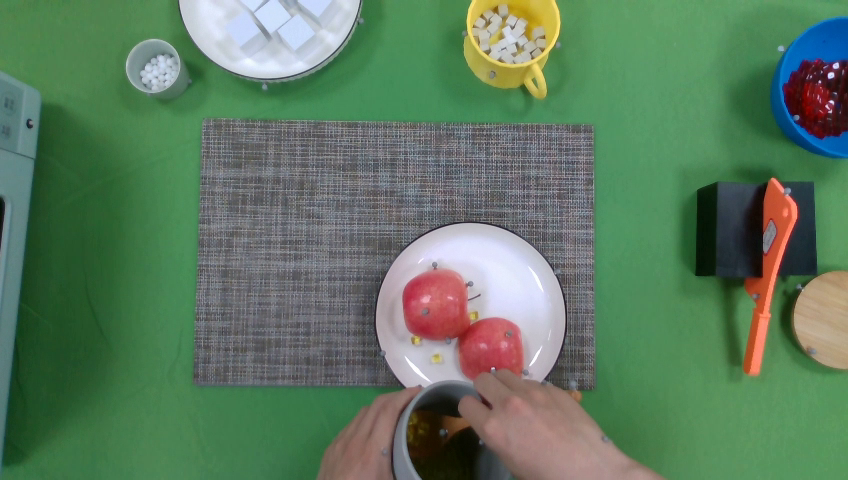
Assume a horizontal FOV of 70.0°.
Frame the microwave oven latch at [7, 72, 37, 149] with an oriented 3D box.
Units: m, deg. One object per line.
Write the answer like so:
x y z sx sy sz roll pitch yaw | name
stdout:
-0.449 -0.143 0.666 0.030 0.029 0.079 8 87 0 | microwave oven latch

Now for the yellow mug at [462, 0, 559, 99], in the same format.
0.101 -0.217 0.674 0.100 0.064 0.130 -28 87 -2 | yellow mug

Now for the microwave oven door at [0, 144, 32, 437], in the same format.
-0.469 0.069 0.551 0.039 0.244 0.355 4 86 1 | microwave oven door

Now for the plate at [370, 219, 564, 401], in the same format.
0.046 0.081 0.665 0.209 0.038 0.208 0 87 0 | plate

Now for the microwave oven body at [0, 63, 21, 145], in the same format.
-0.611 0.015 0.560 0.326 0.260 0.441 4 87 0 | microwave oven body

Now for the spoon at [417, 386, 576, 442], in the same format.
0.058 0.154 0.545 0.022 0.193 0.041 23 57 -29 | spoon

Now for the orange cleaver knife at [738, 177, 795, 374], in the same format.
0.356 0.040 0.648 0.012 0.077 0.212 2 110 4 | orange cleaver knife

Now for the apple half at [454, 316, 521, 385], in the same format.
0.070 0.121 0.656 0.081 0.033 0.081 0 83 0 | apple half

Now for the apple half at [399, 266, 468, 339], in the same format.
0.009 0.067 0.651 0.074 0.053 0.080 -1 87 3 | apple half

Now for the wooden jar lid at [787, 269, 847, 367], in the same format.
0.457 0.087 0.676 0.108 0.021 0.108 0 86 2 | wooden jar lid

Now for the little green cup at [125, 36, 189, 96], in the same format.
-0.299 -0.194 0.686 0.061 0.038 0.061 0 87 -1 | little green cup

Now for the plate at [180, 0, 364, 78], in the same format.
-0.170 -0.283 0.693 0.208 0.039 0.207 0 86 0 | plate

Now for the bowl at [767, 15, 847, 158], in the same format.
0.439 -0.157 0.662 0.151 0.077 0.151 0 87 1 | bowl

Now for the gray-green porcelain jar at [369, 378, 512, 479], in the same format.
0.009 0.201 0.567 0.106 0.127 0.105 10 55 -15 | gray-green porcelain jar
